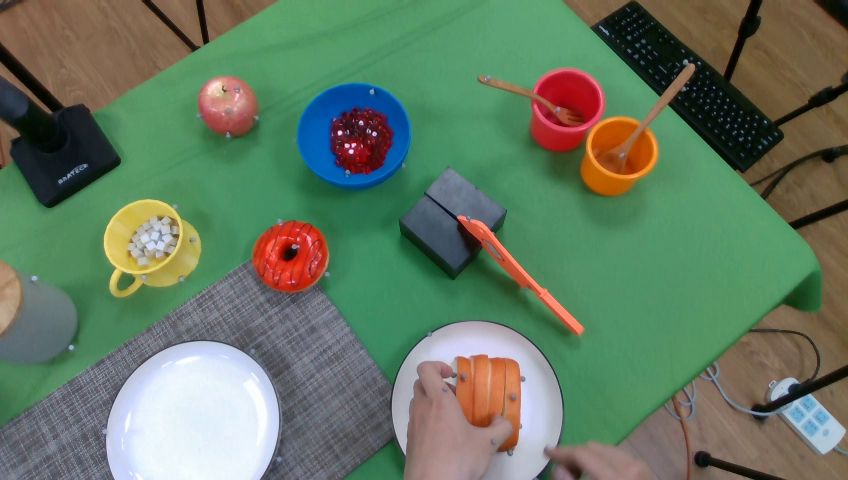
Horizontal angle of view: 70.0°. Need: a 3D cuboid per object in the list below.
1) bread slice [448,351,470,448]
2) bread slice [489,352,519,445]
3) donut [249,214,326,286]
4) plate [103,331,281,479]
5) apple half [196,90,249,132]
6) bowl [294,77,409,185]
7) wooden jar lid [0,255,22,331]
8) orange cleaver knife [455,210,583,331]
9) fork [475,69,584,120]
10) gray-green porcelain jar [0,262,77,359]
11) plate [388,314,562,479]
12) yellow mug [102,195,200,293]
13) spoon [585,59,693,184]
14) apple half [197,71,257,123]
[{"bbox_3d":[0.038,0.177,0.687,0.018,0.135,0.106,1,69,0],"label":"bread slice"},{"bbox_3d":[0.090,0.180,0.684,0.019,0.132,0.104,3,74,0],"label":"bread slice"},{"bbox_3d":[-0.177,0.013,0.790,0.099,0.048,0.098,0,72,0],"label":"donut"},{"bbox_3d":[-0.273,0.215,0.729,0.208,0.039,0.206,0,72,0],"label":"plate"},{"bbox_3d":[-0.281,-0.169,0.837,0.081,0.082,0.032,18,68,7],"label":"apple half"},{"bbox_3d":[-0.094,-0.135,0.824,0.151,0.077,0.150,0,73,0],"label":"bowl"},{"bbox_3d":[-0.497,0.066,0.671,0.108,0.021,0.107,-1,71,2],"label":"wooden jar lid"},{"bbox_3d":[0.119,0.037,0.764,0.212,0.077,0.012,45,80,-10],"label":"orange cleaver knife"},{"bbox_3d":[0.145,-0.193,0.804,0.209,0.018,0.028,11,65,-40],"label":"fork"},{"bbox_3d":[-0.496,0.086,0.730,0.106,0.127,0.105,0,71,1],"label":"gray-green porcelain jar"},{"bbox_3d":[0.061,0.194,0.737,0.209,0.038,0.208,0,72,0],"label":"plate"},{"bbox_3d":[-0.361,0.011,0.785,0.099,0.064,0.130,28,75,9],"label":"yellow mug"},{"bbox_3d":[0.280,-0.152,0.789,0.041,0.194,0.022,45,33,15],"label":"spoon"},{"bbox_3d":[-0.269,-0.203,0.850,0.080,0.075,0.053,17,67,10],"label":"apple half"}]
